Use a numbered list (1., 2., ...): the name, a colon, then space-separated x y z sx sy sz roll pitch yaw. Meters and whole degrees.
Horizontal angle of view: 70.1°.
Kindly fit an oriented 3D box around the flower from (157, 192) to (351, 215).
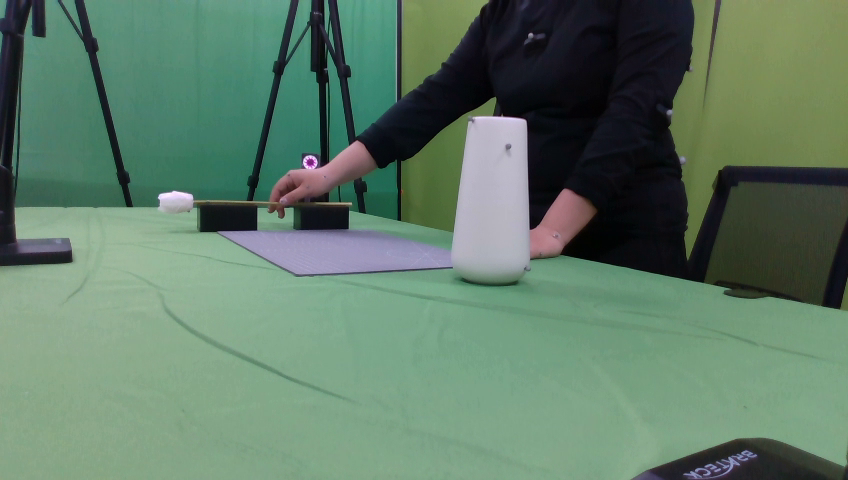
1. flower: -0.314 -0.075 1.160 0.363 0.038 0.044 -4 -21 -24

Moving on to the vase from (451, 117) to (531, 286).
1. vase: 0.083 -0.047 0.737 0.098 0.200 0.098 1 6 0
